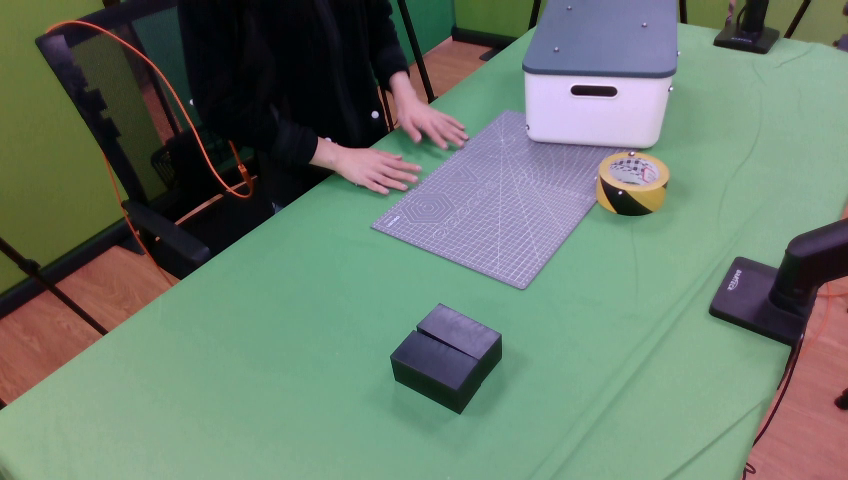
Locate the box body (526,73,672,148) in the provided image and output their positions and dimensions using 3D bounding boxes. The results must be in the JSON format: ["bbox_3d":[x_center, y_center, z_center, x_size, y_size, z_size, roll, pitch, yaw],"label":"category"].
[{"bbox_3d":[0.356,-0.342,1.212,0.253,0.161,0.363,7,42,17],"label":"box body"}]

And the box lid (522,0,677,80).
[{"bbox_3d":[0.346,-0.397,1.163,0.262,0.015,0.371,6,42,17],"label":"box lid"}]

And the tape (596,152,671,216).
[{"bbox_3d":[0.349,-0.095,1.009,0.117,0.053,0.116,-3,42,3],"label":"tape"}]
